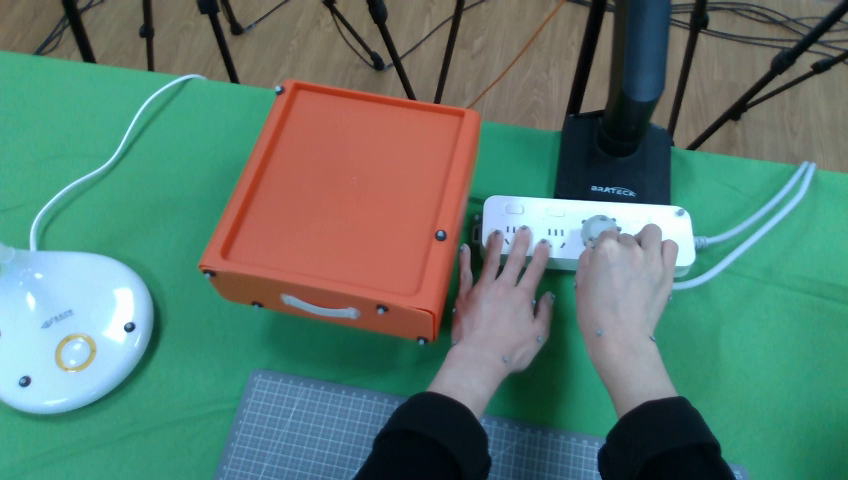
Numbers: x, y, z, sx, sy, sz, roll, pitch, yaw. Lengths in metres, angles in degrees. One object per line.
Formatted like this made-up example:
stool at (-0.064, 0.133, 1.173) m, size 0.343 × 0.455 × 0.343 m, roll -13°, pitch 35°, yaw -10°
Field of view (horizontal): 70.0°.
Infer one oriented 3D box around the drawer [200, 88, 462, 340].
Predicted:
drawer at (-0.066, -0.030, 0.557) m, size 0.194 × 0.074 × 0.210 m, roll 11°, pitch 61°, yaw 7°

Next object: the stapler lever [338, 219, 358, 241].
stapler lever at (-0.094, -0.020, 0.544) m, size 0.117 × 0.040 × 0.027 m, roll 39°, pitch 85°, yaw 24°

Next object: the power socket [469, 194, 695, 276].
power socket at (0.161, -0.005, 0.618) m, size 0.226 × 0.033 × 0.071 m, roll 4°, pitch 63°, yaw 3°

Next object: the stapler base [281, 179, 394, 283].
stapler base at (-0.085, -0.012, 0.568) m, size 0.129 × 0.024 × 0.041 m, roll 39°, pitch 85°, yaw 22°

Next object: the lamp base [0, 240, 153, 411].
lamp base at (-0.352, 0.039, 0.517) m, size 0.160 × 0.182 × 0.178 m, roll -41°, pitch 65°, yaw -19°

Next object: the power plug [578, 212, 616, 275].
power plug at (0.161, 0.006, 0.578) m, size 0.035 × 0.053 × 0.072 m, roll 12°, pitch 67°, yaw 19°

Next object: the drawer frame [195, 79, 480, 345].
drawer frame at (-0.068, -0.032, 0.558) m, size 0.201 × 0.083 × 0.212 m, roll 10°, pitch 61°, yaw 7°
